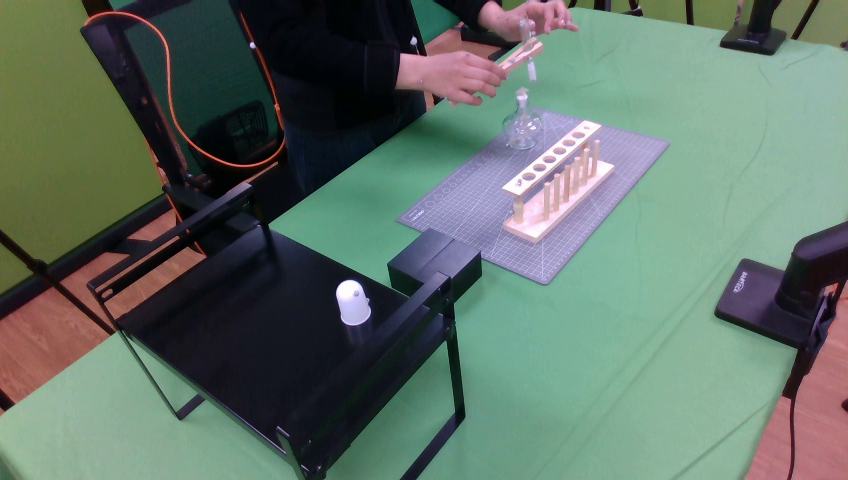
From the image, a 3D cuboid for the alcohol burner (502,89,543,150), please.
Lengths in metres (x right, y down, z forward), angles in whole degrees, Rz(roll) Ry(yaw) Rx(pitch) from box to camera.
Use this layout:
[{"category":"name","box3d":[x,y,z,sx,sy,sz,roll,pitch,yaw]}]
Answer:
[{"category":"alcohol burner","box3d":[0.186,-0.233,1.147,0.078,0.119,0.077,-5,42,5]}]

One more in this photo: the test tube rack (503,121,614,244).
[{"category":"test tube rack","box3d":[0.230,-0.102,1.006,0.066,0.085,0.243,25,50,35]}]

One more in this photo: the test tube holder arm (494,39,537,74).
[{"category":"test tube holder arm","box3d":[0.152,-0.300,1.001,0.088,0.015,0.010,-41,56,-6]}]

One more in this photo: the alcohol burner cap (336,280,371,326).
[{"category":"alcohol burner cap","box3d":[-0.073,0.061,0.619,0.034,0.048,0.033,-4,41,4]}]

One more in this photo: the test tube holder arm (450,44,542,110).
[{"category":"test tube holder arm","box3d":[0.119,-0.269,0.995,0.178,0.015,0.013,-35,56,-2]}]

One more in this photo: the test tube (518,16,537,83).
[{"category":"test tube","box3d":[0.172,-0.311,0.999,0.017,0.151,0.017,-7,64,14]}]
